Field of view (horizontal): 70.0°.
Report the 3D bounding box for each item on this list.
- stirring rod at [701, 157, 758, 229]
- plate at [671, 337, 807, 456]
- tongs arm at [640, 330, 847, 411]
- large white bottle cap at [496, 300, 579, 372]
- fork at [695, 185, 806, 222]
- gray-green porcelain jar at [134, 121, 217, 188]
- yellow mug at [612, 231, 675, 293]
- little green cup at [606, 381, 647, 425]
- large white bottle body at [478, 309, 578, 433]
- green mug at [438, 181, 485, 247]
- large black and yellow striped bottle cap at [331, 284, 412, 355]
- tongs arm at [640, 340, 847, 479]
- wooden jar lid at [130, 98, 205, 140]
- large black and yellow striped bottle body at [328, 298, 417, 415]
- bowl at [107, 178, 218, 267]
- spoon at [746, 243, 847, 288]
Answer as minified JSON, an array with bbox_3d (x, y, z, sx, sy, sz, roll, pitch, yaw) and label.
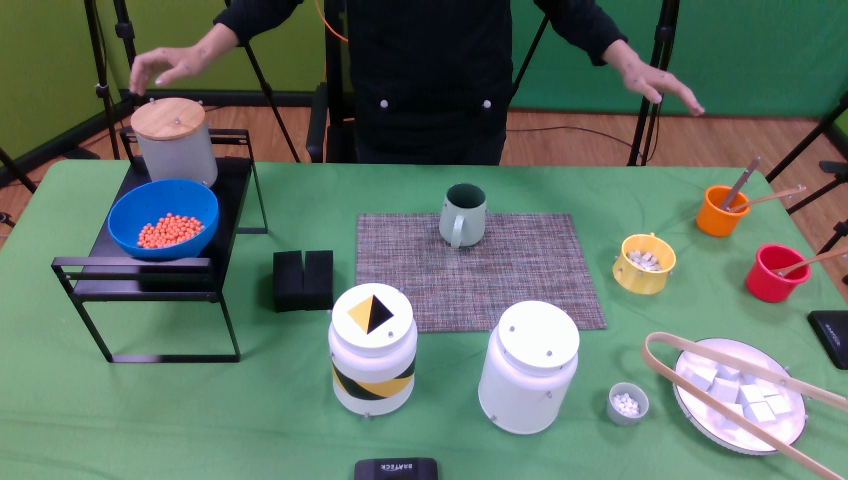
[{"bbox_3d":[0.634,-0.097,1.257,0.014,0.006,0.176,38,97,29],"label":"stirring rod"},{"bbox_3d":[0.503,0.254,0.984,0.208,0.039,0.206,2,46,-2],"label":"plate"},{"bbox_3d":[0.543,0.226,0.969,0.384,0.026,0.050,23,52,13],"label":"tongs arm"},{"bbox_3d":[0.160,0.133,0.852,0.115,0.018,0.114,3,46,-3],"label":"large white bottle cap"},{"bbox_3d":[0.658,-0.074,1.230,0.207,0.019,0.028,-23,36,37],"label":"fork"},{"bbox_3d":[-0.397,-0.141,0.980,0.106,0.127,0.105,2,47,-2],"label":"gray-green porcelain jar"},{"bbox_3d":[0.423,0.033,1.168,0.100,0.064,0.130,18,47,13],"label":"yellow mug"},{"bbox_3d":[0.319,0.261,0.962,0.061,0.039,0.061,2,45,-2],"label":"little green cup"},{"bbox_3d":[0.155,0.192,0.913,0.131,0.185,0.130,2,46,-2],"label":"large white bottle body"},{"bbox_3d":[0.071,-0.039,1.177,0.092,0.105,0.124,12,47,7],"label":"green mug"},{"bbox_3d":[-0.073,0.110,0.858,0.115,0.019,0.114,2,46,-2],"label":"large black and yellow striped bottle cap"},{"bbox_3d":[0.500,0.277,0.919,0.386,0.028,0.028,34,59,22],"label":"tongs arm"},{"bbox_3d":[-0.393,-0.183,0.934,0.108,0.021,0.107,2,44,-2],"label":"wooden jar lid"},{"bbox_3d":[-0.078,0.167,0.920,0.131,0.185,0.130,2,46,-2],"label":"large black and yellow striped bottle body"},{"bbox_3d":[-0.374,-0.014,0.893,0.151,0.077,0.150,2,46,-2],"label":"bowl"},{"bbox_3d":[0.702,0.044,1.126,0.194,0.022,0.041,-29,38,30],"label":"spoon"}]
